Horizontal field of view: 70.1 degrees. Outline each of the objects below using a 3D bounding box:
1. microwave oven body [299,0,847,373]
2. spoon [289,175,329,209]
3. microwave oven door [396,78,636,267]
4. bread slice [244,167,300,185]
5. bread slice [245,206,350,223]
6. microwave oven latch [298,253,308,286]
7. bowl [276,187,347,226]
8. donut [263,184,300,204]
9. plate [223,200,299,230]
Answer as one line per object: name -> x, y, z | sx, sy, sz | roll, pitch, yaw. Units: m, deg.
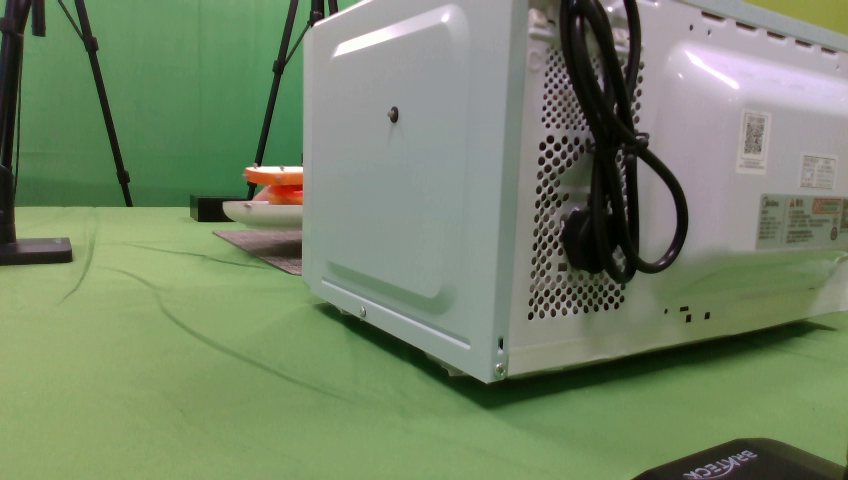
microwave oven body -> 0.152, -0.055, 0.542 | 0.444, 0.260, 0.324 | -2, 7, -33
spoon -> -0.261, -0.111, 1.343 | 0.042, 0.021, 0.192 | -9, 34, -30
microwave oven door -> 0.115, -0.103, 0.871 | 0.354, 0.243, 0.039 | 7, 8, 34
bread slice -> -0.188, -0.094, 0.869 | 0.132, 0.019, 0.104 | -5, 13, -36
bread slice -> -0.187, -0.038, 0.871 | 0.135, 0.018, 0.106 | -6, 7, -40
microwave oven latch -> -0.081, 0.027, 0.583 | 0.079, 0.029, 0.030 | -1, 7, -32
bowl -> -0.241, -0.073, 1.302 | 0.151, 0.077, 0.151 | 2, 7, 0
donut -> -0.184, -0.069, 0.877 | 0.099, 0.048, 0.099 | -2, -5, 0
plate -> -0.182, -0.037, 0.877 | 0.208, 0.039, 0.207 | 0, 5, 0
